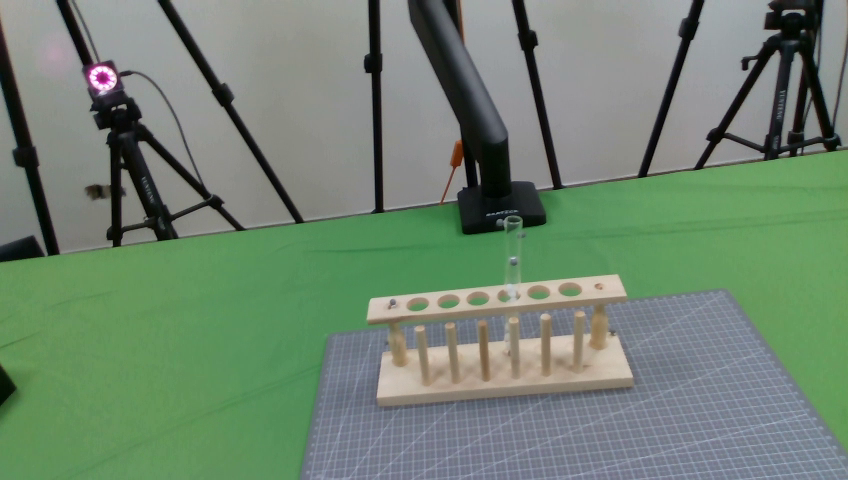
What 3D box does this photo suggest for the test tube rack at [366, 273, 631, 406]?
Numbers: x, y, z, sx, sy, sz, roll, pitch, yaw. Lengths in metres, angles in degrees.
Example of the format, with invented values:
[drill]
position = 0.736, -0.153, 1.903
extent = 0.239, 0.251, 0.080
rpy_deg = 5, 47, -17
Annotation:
[test tube rack]
position = 0.070, 0.097, 0.585
extent = 0.242, 0.086, 0.066
rpy_deg = -6, 32, 5

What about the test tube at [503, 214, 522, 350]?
[test tube]
position = 0.083, 0.044, 0.571
extent = 0.017, 0.151, 0.017
rpy_deg = -2, 30, 2
